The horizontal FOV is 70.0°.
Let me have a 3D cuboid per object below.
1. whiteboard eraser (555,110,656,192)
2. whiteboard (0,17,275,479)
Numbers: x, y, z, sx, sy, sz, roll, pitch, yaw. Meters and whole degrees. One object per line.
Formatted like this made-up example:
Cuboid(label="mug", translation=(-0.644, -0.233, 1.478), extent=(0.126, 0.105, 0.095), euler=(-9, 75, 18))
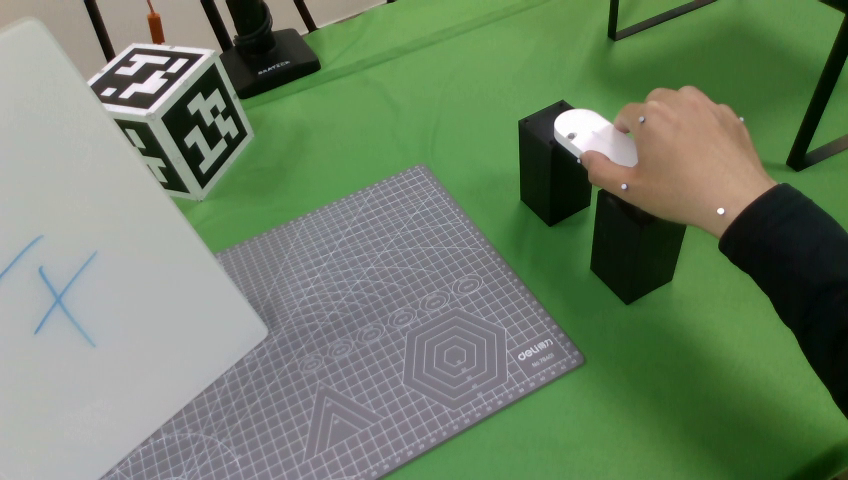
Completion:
Cuboid(label="whiteboard eraser", translation=(0.147, -0.076, 0.499), extent=(0.041, 0.019, 0.100), euler=(-27, 50, -15))
Cuboid(label="whiteboard", translation=(-0.306, 0.023, 0.476), extent=(0.217, 0.308, 0.142), euler=(-42, 35, -23))
